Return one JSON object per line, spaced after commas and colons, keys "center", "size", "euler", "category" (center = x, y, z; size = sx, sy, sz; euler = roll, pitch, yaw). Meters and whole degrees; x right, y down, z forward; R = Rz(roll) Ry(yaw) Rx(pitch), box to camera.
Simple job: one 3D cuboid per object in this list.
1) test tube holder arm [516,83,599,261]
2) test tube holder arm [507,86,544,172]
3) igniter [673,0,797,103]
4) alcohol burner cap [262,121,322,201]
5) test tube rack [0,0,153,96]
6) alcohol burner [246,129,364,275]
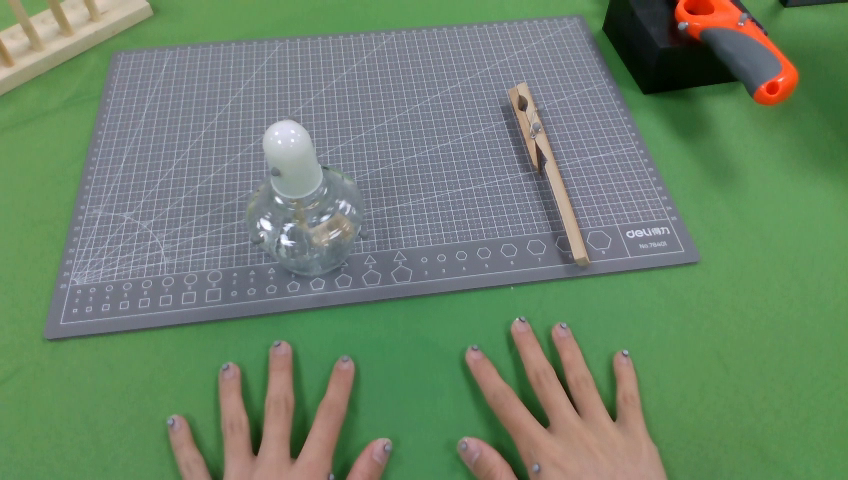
{"center": [0.100, -0.059, 0.472], "size": [0.013, 0.015, 0.176], "euler": [-32, 52, 23], "category": "test tube holder arm"}
{"center": [0.086, -0.092, 0.499], "size": [0.010, 0.015, 0.087], "euler": [-30, 53, 24], "category": "test tube holder arm"}
{"center": [0.233, -0.210, 0.524], "size": [0.057, 0.025, 0.273], "euler": [-12, 53, -6], "category": "igniter"}
{"center": [-0.081, -0.050, 0.363], "size": [0.034, 0.048, 0.033], "euler": [1, 57, 0], "category": "alcohol burner cap"}
{"center": [-0.371, -0.190, 0.523], "size": [0.066, 0.086, 0.242], "euler": [35, 61, 22], "category": "test tube rack"}
{"center": [-0.080, -0.029, 0.392], "size": [0.078, 0.120, 0.077], "euler": [0, 56, 0], "category": "alcohol burner"}
